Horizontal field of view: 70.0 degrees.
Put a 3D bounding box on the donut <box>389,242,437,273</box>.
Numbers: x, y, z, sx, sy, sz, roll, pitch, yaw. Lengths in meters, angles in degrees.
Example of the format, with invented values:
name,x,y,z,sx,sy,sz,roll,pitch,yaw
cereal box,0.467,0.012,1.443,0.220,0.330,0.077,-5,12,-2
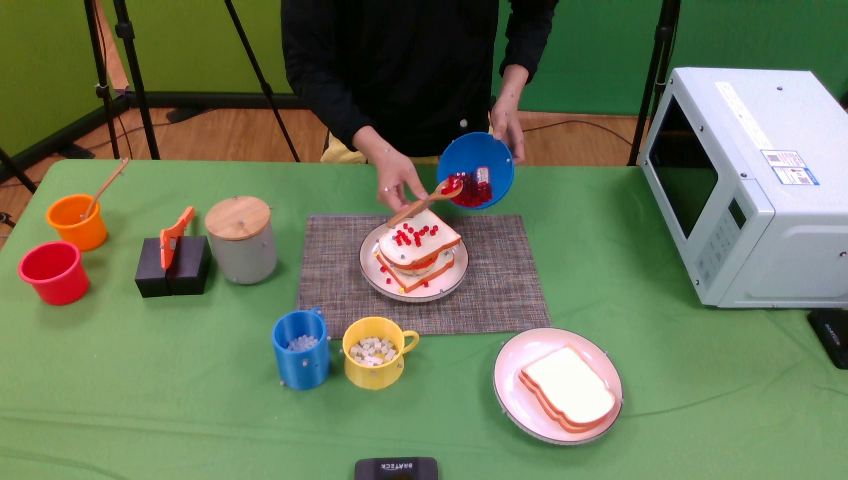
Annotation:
name,x,y,z,sx,sy,sz,roll,pitch,yaw
donut,-0.023,0.018,1.120,0.099,0.048,0.098,-10,48,11

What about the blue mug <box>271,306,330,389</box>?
name,x,y,z,sx,sy,sz,roll,pitch,yaw
blue mug,-0.188,0.163,0.969,0.082,0.106,0.116,15,47,10

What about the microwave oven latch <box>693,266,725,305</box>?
name,x,y,z,sx,sy,sz,roll,pitch,yaw
microwave oven latch,0.523,0.081,1.115,0.030,0.029,0.078,3,46,0

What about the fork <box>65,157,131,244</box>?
name,x,y,z,sx,sy,sz,roll,pitch,yaw
fork,-0.608,-0.074,1.132,0.207,0.019,0.028,-52,48,10

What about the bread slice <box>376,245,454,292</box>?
name,x,y,z,sx,sy,sz,roll,pitch,yaw
bread slice,-0.010,0.033,1.149,0.131,0.019,0.104,-27,55,-25

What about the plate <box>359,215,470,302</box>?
name,x,y,z,sx,sy,sz,roll,pitch,yaw
plate,-0.019,0.038,1.140,0.209,0.038,0.208,2,46,-2

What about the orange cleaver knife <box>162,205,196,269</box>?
name,x,y,z,sx,sy,sz,roll,pitch,yaw
orange cleaver knife,-0.454,-0.010,1.129,0.012,0.077,0.210,-2,20,-5

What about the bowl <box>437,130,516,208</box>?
name,x,y,z,sx,sy,sz,roll,pitch,yaw
bowl,0.109,-0.127,1.161,0.151,0.077,0.151,-4,80,21

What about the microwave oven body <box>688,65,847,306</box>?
name,x,y,z,sx,sy,sz,roll,pitch,yaw
microwave oven body,0.669,-0.111,1.176,0.326,0.261,0.439,0,46,-3

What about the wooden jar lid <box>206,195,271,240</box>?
name,x,y,z,sx,sy,sz,roll,pitch,yaw
wooden jar lid,-0.319,-0.036,1.046,0.108,0.021,0.107,1,44,0

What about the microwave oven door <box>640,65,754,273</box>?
name,x,y,z,sx,sy,sz,roll,pitch,yaw
microwave oven door,0.523,-0.147,1.193,0.039,0.245,0.353,0,47,-3

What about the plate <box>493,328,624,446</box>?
name,x,y,z,sx,sy,sz,roll,pitch,yaw
plate,0.213,0.236,0.974,0.208,0.039,0.206,2,46,-2

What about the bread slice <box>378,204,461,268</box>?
name,x,y,z,sx,sy,sz,roll,pitch,yaw
bread slice,-0.014,-0.002,1.097,0.134,0.018,0.106,-34,51,-22

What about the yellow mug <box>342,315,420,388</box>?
name,x,y,z,sx,sy,sz,roll,pitch,yaw
yellow mug,-0.068,0.177,0.990,0.131,0.064,0.099,-15,50,-19

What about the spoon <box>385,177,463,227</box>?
name,x,y,z,sx,sy,sz,roll,pitch,yaw
spoon,0.000,-0.064,1.005,0.041,0.022,0.194,34,41,24

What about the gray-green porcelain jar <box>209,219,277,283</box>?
name,x,y,z,sx,sy,sz,roll,pitch,yaw
gray-green porcelain jar,-0.323,0.007,1.092,0.106,0.127,0.105,2,46,-2
